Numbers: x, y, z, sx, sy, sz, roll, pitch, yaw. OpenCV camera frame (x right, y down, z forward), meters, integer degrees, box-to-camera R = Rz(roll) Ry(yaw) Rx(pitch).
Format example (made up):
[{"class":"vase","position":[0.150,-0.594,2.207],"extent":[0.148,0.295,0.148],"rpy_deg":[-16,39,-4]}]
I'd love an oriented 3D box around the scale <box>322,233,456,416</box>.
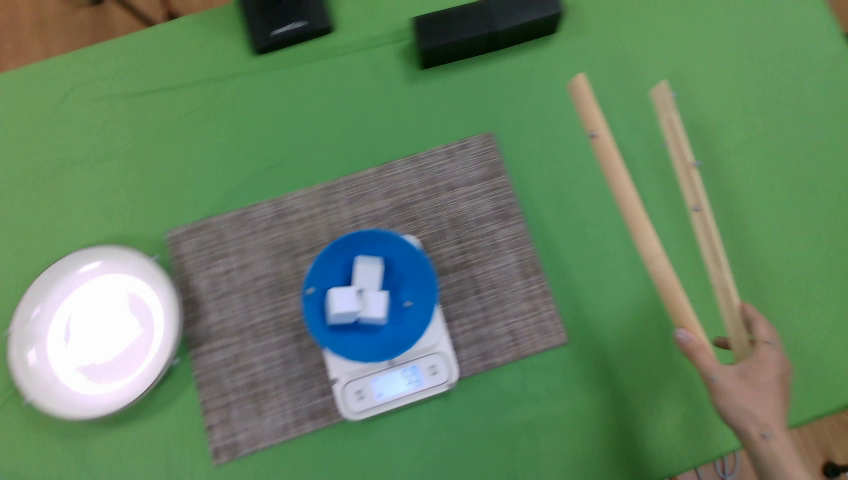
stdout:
[{"class":"scale","position":[-0.056,0.100,0.742],"extent":[0.149,0.032,0.199],"rpy_deg":[-18,76,-3]}]

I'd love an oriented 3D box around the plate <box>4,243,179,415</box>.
[{"class":"plate","position":[-0.401,0.108,0.746],"extent":[0.208,0.039,0.206],"rpy_deg":[0,75,1]}]

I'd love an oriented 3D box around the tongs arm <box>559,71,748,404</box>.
[{"class":"tongs arm","position":[0.233,-0.008,0.639],"extent":[0.028,0.028,0.386],"rpy_deg":[-15,77,-39]}]

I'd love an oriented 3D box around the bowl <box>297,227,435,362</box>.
[{"class":"bowl","position":[-0.063,0.068,0.696],"extent":[0.151,0.077,0.150],"rpy_deg":[0,75,0]}]

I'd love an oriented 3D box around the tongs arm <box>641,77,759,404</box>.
[{"class":"tongs arm","position":[0.298,-0.015,0.680],"extent":[0.051,0.026,0.382],"rpy_deg":[-2,70,-32]}]
